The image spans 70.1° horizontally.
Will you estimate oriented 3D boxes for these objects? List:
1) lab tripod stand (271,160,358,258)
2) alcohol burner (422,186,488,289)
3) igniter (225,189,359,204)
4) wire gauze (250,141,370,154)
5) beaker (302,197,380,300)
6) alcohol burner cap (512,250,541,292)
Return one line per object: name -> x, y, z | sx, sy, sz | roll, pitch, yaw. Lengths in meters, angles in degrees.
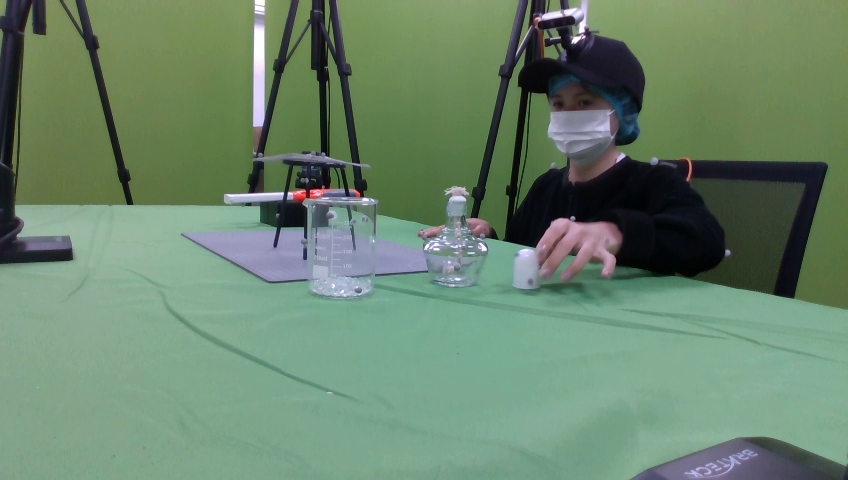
lab tripod stand -> -0.159, -0.048, 0.876 | 0.148, 0.131, 0.148 | 3, 5, 0
alcohol burner -> 0.036, -0.004, 0.706 | 0.078, 0.119, 0.078 | 0, 7, 0
igniter -> -0.264, -0.089, 1.239 | 0.278, 0.025, 0.057 | -5, 12, -32
wire gauze -> -0.163, -0.131, 0.867 | 0.124, 0.011, 0.122 | -1, 8, 32
beaker -> -0.089, 0.007, 0.625 | 0.084, 0.100, 0.074 | 4, 7, 16
alcohol burner cap -> 0.119, 0.035, 0.700 | 0.034, 0.048, 0.034 | 1, 9, 0
